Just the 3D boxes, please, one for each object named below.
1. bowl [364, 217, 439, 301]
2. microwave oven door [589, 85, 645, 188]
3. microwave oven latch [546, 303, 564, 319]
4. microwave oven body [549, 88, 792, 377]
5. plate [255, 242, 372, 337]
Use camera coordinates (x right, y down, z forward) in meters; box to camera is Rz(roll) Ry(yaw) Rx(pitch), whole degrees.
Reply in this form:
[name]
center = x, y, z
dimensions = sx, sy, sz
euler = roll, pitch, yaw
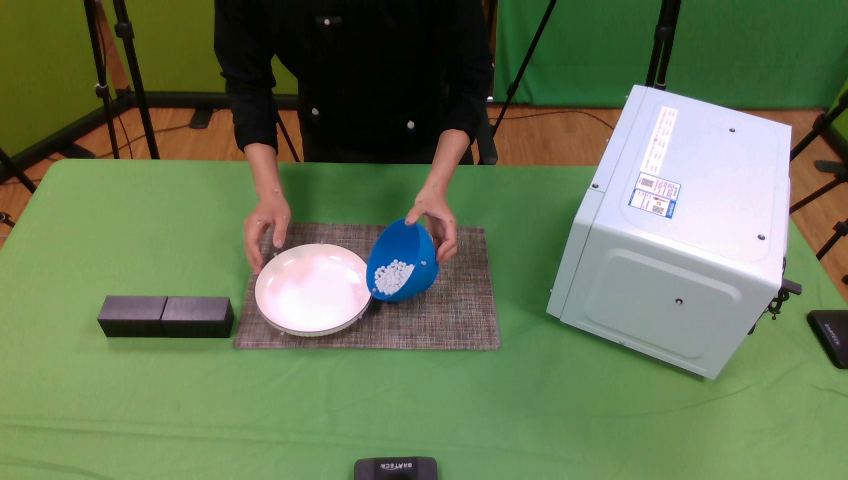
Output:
[bowl]
center = -0.027, 0.044, 1.053
dimensions = 0.077, 0.151, 0.150
euler = 26, 35, -34
[microwave oven door]
center = 0.342, -0.107, 1.148
dimensions = 0.039, 0.245, 0.354
euler = 20, 48, 15
[microwave oven latch]
center = 0.242, 0.102, 1.081
dimensions = 0.030, 0.029, 0.079
euler = 21, 48, 17
[microwave oven body]
center = 0.456, -0.028, 1.088
dimensions = 0.325, 0.261, 0.440
euler = 20, 47, 16
[plate]
center = -0.192, 0.090, 1.080
dimensions = 0.208, 0.039, 0.206
euler = 2, 46, -2
